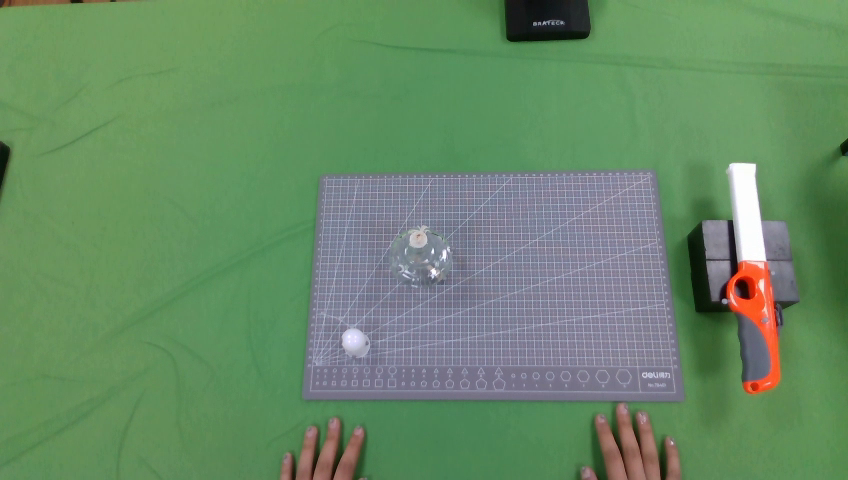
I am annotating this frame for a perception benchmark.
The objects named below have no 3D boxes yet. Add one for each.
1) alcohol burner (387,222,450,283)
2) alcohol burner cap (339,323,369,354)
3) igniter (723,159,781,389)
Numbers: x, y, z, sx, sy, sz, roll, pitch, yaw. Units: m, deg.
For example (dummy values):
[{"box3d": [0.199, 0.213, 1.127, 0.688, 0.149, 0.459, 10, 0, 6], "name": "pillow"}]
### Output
[{"box3d": [-0.007, 0.010, 0.720, 0.078, 0.120, 0.077, 0, 70, 1], "name": "alcohol burner"}, {"box3d": [-0.086, 0.116, 0.725, 0.034, 0.048, 0.033, -1, 70, 4], "name": "alcohol burner cap"}, {"box3d": [0.371, 0.032, 0.695, 0.057, 0.025, 0.274, 3, 69, 7], "name": "igniter"}]
